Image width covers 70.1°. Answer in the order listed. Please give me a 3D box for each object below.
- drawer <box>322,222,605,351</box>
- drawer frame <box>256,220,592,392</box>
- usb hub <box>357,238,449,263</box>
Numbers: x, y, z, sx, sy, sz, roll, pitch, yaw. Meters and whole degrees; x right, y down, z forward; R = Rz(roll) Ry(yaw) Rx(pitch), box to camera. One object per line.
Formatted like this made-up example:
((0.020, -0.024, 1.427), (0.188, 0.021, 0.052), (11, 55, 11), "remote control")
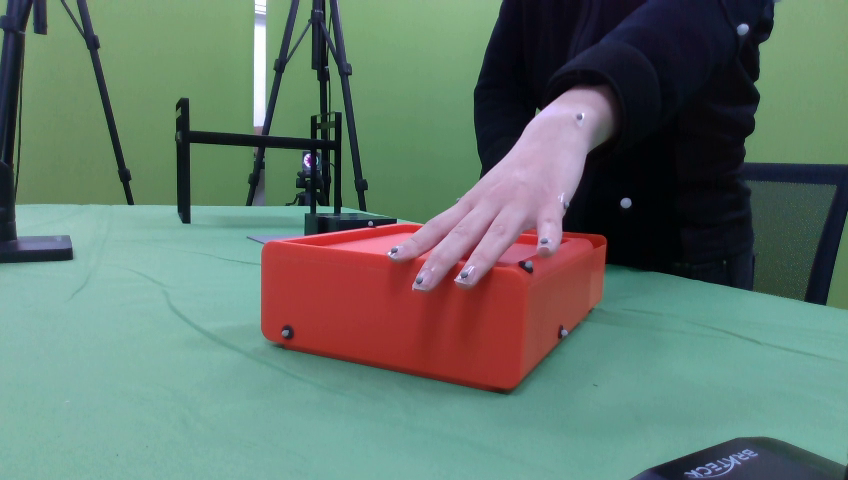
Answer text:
((0.045, 0.031, 0.553), (0.194, 0.073, 0.212), (7, 9, 27), "drawer")
((0.014, 0.036, 0.490), (0.201, 0.082, 0.214), (6, 9, 25), "drawer frame")
((-0.028, 0.013, 0.855), (0.126, 0.025, 0.049), (-2, 8, -34), "usb hub")
